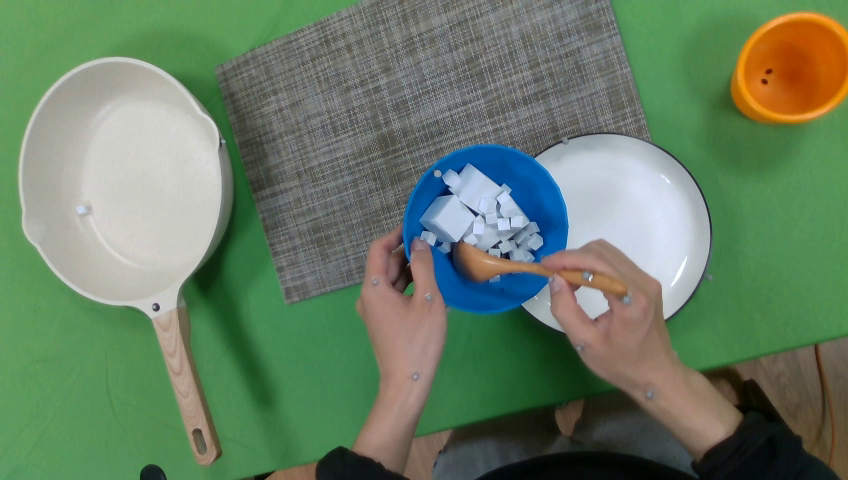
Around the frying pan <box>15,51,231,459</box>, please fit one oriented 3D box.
[{"bbox_3d":[-0.327,0.022,0.725,0.306,0.103,0.486,-22,81,17],"label":"frying pan"}]

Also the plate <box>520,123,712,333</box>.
[{"bbox_3d":[0.176,-0.012,0.612,0.207,0.039,0.208,2,98,15],"label":"plate"}]

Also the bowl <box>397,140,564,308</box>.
[{"bbox_3d":[0.046,-0.020,0.567,0.152,0.076,0.152,-2,103,-8],"label":"bowl"}]

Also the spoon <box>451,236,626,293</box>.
[{"bbox_3d":[0.083,0.020,0.497,0.192,0.021,0.042,6,118,50],"label":"spoon"}]
